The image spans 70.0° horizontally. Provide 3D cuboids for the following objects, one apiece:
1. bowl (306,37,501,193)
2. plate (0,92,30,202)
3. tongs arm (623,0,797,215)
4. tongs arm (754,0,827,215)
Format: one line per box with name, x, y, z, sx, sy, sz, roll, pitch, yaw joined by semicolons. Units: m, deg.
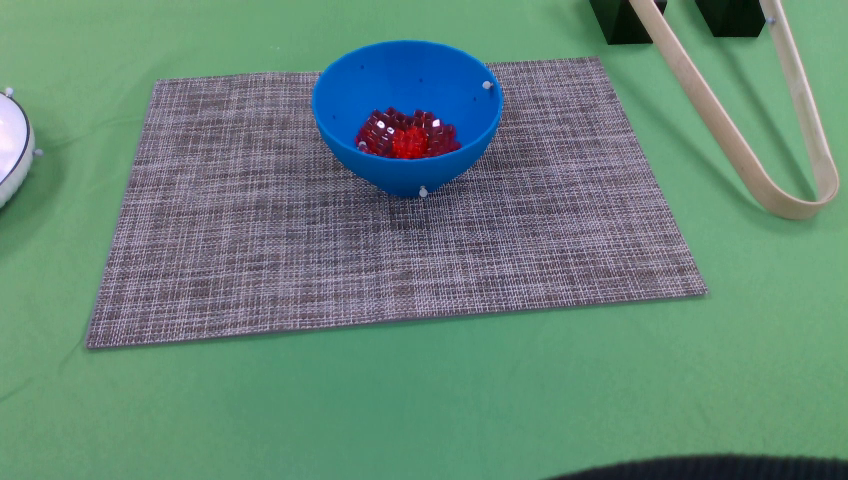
bowl;-0.017;-0.092;0.502;0.151;0.077;0.150;1;52;0
plate;-0.431;-0.053;0.492;0.209;0.038;0.207;1;52;-1
tongs arm;0.233;-0.189;0.577;0.028;0.028;0.384;-12;64;-14
tongs arm;0.322;-0.196;0.585;0.051;0.027;0.381;1;63;-4
